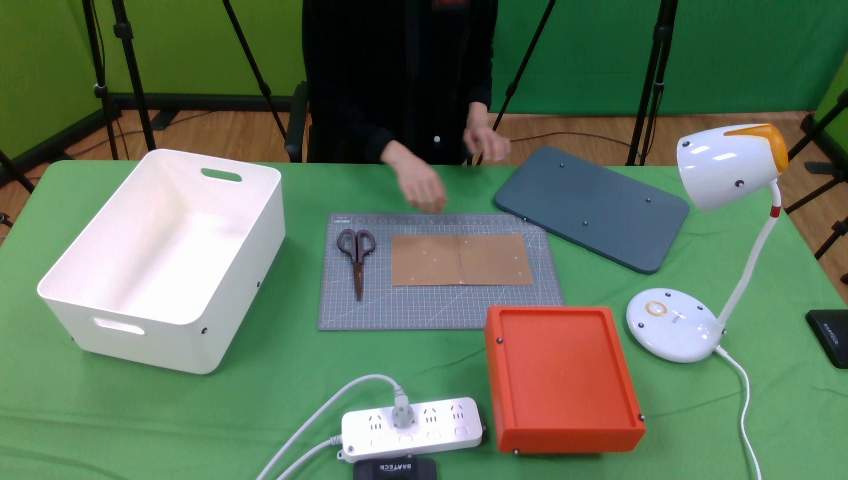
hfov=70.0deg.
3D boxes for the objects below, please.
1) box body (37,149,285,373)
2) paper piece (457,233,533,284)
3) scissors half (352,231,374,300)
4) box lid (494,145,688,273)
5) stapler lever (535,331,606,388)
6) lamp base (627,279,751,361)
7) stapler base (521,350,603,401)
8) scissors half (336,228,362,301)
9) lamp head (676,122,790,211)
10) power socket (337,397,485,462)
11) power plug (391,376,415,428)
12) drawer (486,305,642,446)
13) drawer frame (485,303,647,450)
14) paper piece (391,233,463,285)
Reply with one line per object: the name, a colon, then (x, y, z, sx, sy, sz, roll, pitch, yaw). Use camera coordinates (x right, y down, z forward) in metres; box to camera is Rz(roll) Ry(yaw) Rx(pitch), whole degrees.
box body: (-0.414, 0.029, 1.040, 0.254, 0.161, 0.362, 10, 46, 5)
paper piece: (0.136, 0.035, 1.182, 0.136, 0.009, 0.137, 2, 45, -7)
scissors half: (-0.119, 0.048, 1.151, 0.040, 0.013, 0.174, 15, 45, -12)
box lid: (0.360, -0.081, 1.311, 0.370, 0.015, 0.263, 27, 49, 20)
stapler lever: (0.225, 0.181, 0.929, 0.118, 0.040, 0.027, 27, 34, 15)
lamp base: (0.460, 0.100, 1.027, 0.178, 0.181, 0.160, 27, 51, 17)
stapler base: (0.217, 0.203, 0.942, 0.130, 0.024, 0.041, 26, 33, 16)
scissors half: (-0.138, 0.045, 1.145, 0.040, 0.013, 0.174, -2, 49, -21)
lamp head: (0.423, -0.104, 0.819, 0.122, 0.113, 0.112, -13, 33, 40)
power socket: (-0.018, 0.285, 0.915, 0.227, 0.033, 0.071, -4, 46, -8)
power plug: (-0.030, 0.249, 0.917, 0.035, 0.053, 0.072, 3, 46, 0)
drawer: (0.202, 0.200, 0.919, 0.195, 0.073, 0.210, 2, 47, -4)
drawer frame: (0.204, 0.202, 0.917, 0.202, 0.083, 0.212, 1, 47, -4)
paper piece: (0.004, 0.035, 1.170, 0.135, 0.004, 0.135, 1, 46, -4)
